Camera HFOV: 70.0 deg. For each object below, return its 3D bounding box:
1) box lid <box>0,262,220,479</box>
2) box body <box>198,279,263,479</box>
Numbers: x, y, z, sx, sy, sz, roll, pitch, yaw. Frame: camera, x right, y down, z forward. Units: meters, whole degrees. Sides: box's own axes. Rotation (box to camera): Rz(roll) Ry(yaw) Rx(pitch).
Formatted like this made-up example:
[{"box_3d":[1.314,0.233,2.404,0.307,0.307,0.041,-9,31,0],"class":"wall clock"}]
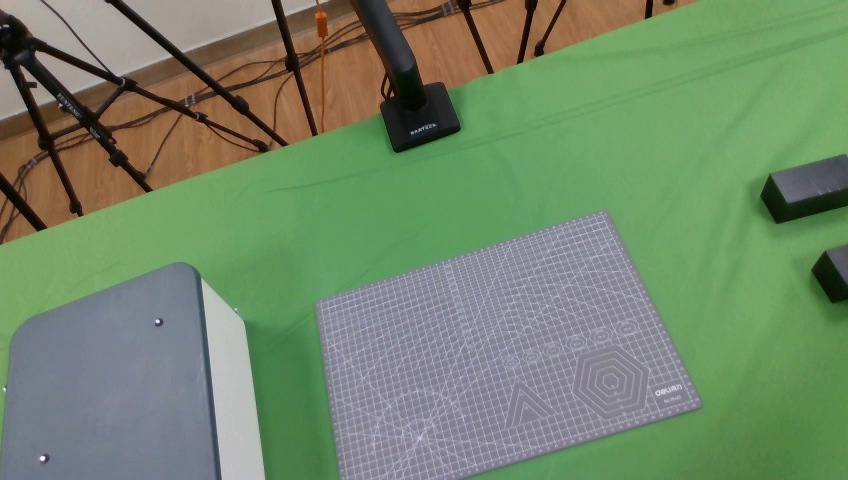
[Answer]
[{"box_3d":[-0.369,0.211,0.694,0.263,0.015,0.367,-20,59,1],"class":"box lid"},{"box_3d":[-0.353,0.250,0.757,0.254,0.162,0.360,-20,58,1],"class":"box body"}]
